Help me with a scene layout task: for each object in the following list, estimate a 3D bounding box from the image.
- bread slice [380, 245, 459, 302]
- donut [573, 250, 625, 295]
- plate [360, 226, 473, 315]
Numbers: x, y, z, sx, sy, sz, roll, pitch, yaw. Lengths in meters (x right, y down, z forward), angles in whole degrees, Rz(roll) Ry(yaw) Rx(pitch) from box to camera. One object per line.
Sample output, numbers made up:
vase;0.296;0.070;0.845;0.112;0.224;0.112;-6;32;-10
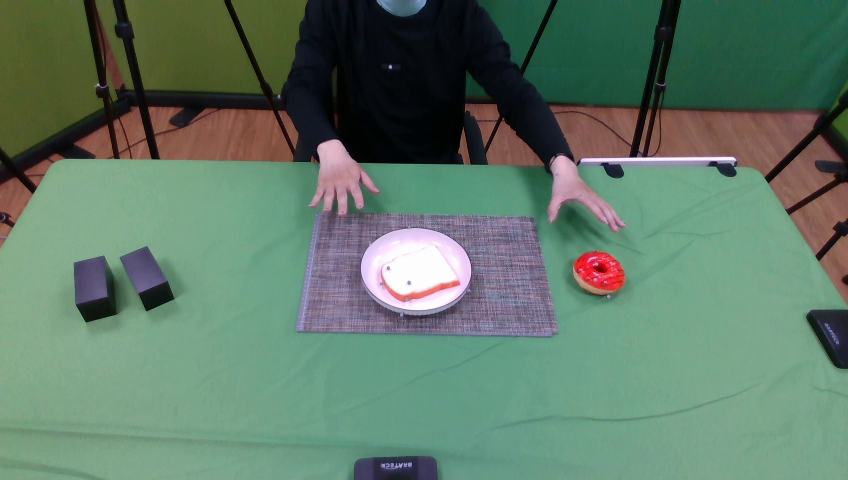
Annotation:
bread slice;-0.014;0.063;1.122;0.132;0.019;0.104;-18;50;-21
donut;0.332;0.062;1.149;0.099;0.048;0.098;4;45;-4
plate;-0.013;0.059;1.124;0.208;0.039;0.206;2;46;-2
